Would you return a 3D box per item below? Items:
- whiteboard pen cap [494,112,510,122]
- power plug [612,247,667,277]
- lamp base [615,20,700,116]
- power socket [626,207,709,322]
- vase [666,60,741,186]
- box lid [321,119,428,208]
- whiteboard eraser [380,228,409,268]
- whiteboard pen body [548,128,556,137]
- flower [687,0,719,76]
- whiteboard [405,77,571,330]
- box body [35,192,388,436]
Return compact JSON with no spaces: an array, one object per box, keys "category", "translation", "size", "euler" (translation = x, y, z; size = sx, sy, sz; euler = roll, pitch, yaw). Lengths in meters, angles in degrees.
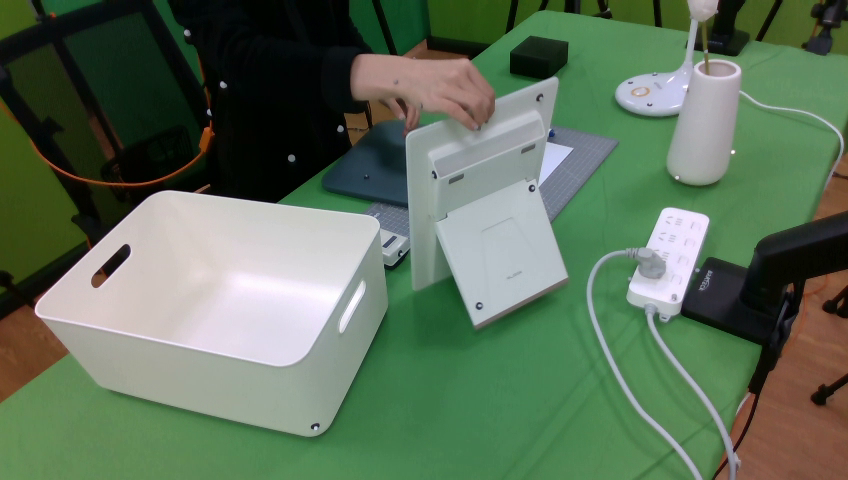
[{"category":"whiteboard pen cap","translation":[0.161,-0.253,1.248],"size":[0.033,0.018,0.018],"euler":[27,51,36]},{"category":"power plug","translation":[0.306,0.031,0.852],"size":[0.072,0.053,0.035],"euler":[21,48,38]},{"category":"lamp base","translation":[0.484,-0.364,1.211],"size":[0.180,0.181,0.159],"euler":[-15,41,-14]},{"category":"power socket","translation":[0.360,0.026,0.886],"size":[0.072,0.033,0.227],"euler":[17,46,27]},{"category":"vase","translation":[0.463,-0.189,0.994],"size":[0.098,0.201,0.097],"euler":[-3,40,3]},{"category":"box lid","translation":[0.017,-0.141,1.145],"size":[0.369,0.015,0.263],"euler":[12,44,22]},{"category":"whiteboard eraser","translation":[-0.081,0.007,0.963],"size":[0.112,0.042,0.056],"euler":[19,48,27]},{"category":"whiteboard pen body","translation":[0.203,-0.232,1.213],"size":[0.139,0.017,0.017],"euler":[28,51,36]},{"category":"flower","translation":[0.436,-0.242,0.934],"size":[0.038,0.364,0.043],"euler":[-24,49,8]},{"category":"whiteboard","translation":[0.105,-0.020,0.787],"size":[0.218,0.306,0.142],"euler":[-23,55,-18]},{"category":"box body","translation":[-0.251,0.087,0.800],"size":[0.362,0.161,0.254],"euler":[7,42,16]}]
